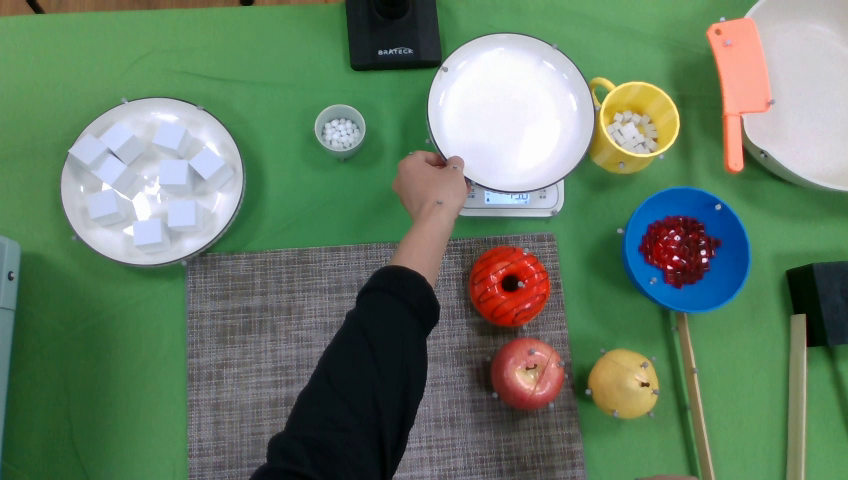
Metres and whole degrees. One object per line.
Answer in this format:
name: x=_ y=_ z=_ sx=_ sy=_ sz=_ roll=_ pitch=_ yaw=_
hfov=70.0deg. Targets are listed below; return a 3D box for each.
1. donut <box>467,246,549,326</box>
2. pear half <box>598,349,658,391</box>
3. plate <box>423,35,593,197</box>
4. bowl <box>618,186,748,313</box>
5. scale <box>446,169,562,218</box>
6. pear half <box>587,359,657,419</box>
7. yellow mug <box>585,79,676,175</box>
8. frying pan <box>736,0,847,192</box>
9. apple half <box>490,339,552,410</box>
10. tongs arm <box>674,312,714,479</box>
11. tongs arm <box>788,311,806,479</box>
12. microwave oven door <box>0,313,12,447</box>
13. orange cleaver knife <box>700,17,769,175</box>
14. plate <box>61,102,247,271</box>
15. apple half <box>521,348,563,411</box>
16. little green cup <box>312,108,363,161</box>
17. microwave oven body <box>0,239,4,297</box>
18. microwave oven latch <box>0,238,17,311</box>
donut: x=0.100 y=0.055 z=0.726 sx=0.099 sy=0.048 sz=0.098 roll=0 pitch=78 yaw=-2
pear half: x=0.241 y=0.145 z=0.699 sx=0.070 sy=0.088 sz=0.031 roll=26 pitch=77 yaw=4
plate: x=0.102 y=-0.150 z=0.746 sx=0.209 sy=0.038 sz=0.208 roll=1 pitch=77 yaw=-5
bowl: x=0.300 y=0.018 z=0.738 sx=0.151 sy=0.077 sz=0.150 roll=1 pitch=79 yaw=-4
scale: x=0.101 y=-0.127 z=0.775 sx=0.149 sy=0.031 sz=0.200 roll=0 pitch=78 yaw=-4
pear half: x=0.224 y=0.173 z=0.682 sx=0.076 sy=0.110 sz=0.056 roll=26 pitch=77 yaw=6
yellow mug: x=0.249 y=-0.153 z=0.775 sx=0.100 sy=0.064 sz=0.130 roll=-36 pitch=82 yaw=-10
frying pan: x=0.578 y=-0.113 z=0.775 sx=0.307 sy=0.103 sz=0.484 roll=-31 pitch=74 yaw=-9
apple half: x=0.103 y=0.147 z=0.692 sx=0.053 sy=0.075 sz=0.080 roll=28 pitch=80 yaw=5
tongs arm: x=0.348 y=0.272 z=0.709 sx=0.051 sy=0.026 sz=0.383 roll=-3 pitch=79 yaw=-10
tongs arm: x=0.434 y=0.275 z=0.720 sx=0.028 sy=0.028 sz=0.386 roll=12 pitch=78 yaw=-10
microwave oven door: x=-0.458 y=0.230 z=0.525 sx=0.039 sy=0.244 sz=0.354 roll=-2 pitch=78 yaw=-5
orange cleaver knife: x=0.391 y=-0.183 z=0.756 sx=0.077 sy=0.012 sz=0.210 roll=0 pitch=79 yaw=-2
plate: x=-0.315 y=-0.062 z=0.723 sx=0.208 sy=0.039 sz=0.206 roll=1 pitch=78 yaw=-5
apple half: x=0.138 y=0.164 z=0.690 sx=0.033 sy=0.081 sz=0.081 roll=28 pitch=77 yaw=5
little green cup: x=-0.107 y=-0.129 z=0.755 sx=0.061 sy=0.039 sz=0.061 roll=1 pitch=77 yaw=-4
microwave oven body: x=-0.605 y=0.193 z=0.526 sx=0.326 sy=0.261 sz=0.439 roll=-1 pitch=79 yaw=-6
microwave oven latch: x=-0.472 y=0.038 z=0.669 sx=0.030 sy=0.029 sz=0.079 roll=1 pitch=78 yaw=-5
